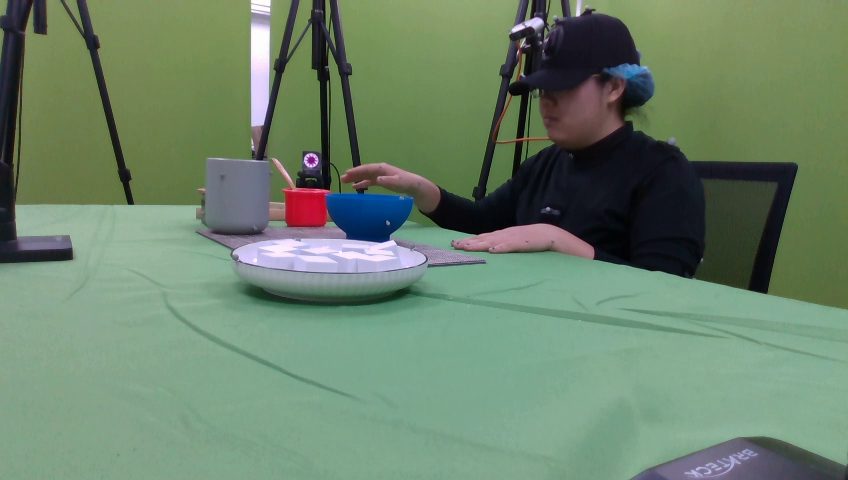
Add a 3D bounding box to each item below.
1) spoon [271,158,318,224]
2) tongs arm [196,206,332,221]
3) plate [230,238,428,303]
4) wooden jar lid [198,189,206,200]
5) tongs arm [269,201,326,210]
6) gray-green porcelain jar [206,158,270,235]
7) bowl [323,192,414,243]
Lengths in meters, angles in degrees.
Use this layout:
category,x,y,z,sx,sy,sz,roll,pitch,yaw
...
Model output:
category,x,y,z,sx,sy,sz,roll,pitch,yaw
spoon,-0.268,-0.103,1.236,0.042,0.193,0.021,-10,-32,-40
tongs arm,-0.294,-0.058,1.330,0.389,0.028,0.028,0,5,-20
plate,-0.099,0.032,0.651,0.209,0.038,0.209,3,8,0
wooden jar lid,-0.382,-0.088,1.175,0.108,0.020,0.108,3,8,0
tongs arm,-0.308,-0.073,1.410,0.386,0.026,0.050,3,8,-6
gray-green porcelain jar,-0.322,-0.076,1.048,0.106,0.126,0.106,3,7,0
bowl,-0.094,-0.037,1.015,0.151,0.077,0.151,3,7,0
